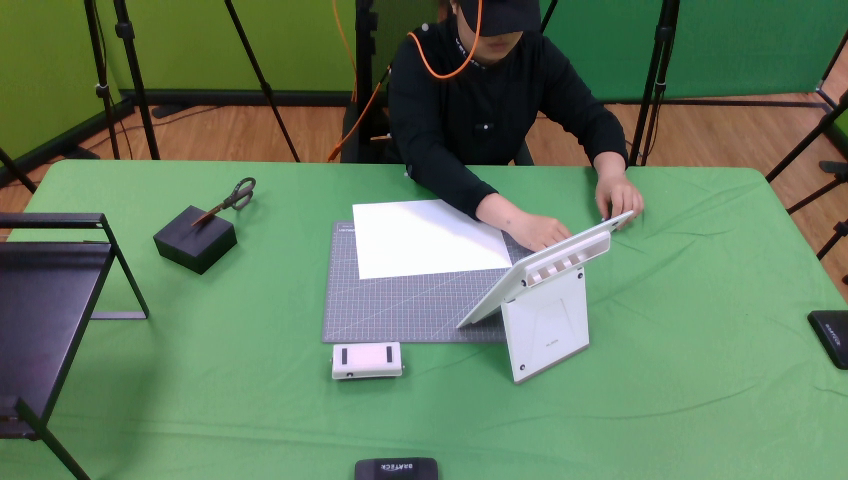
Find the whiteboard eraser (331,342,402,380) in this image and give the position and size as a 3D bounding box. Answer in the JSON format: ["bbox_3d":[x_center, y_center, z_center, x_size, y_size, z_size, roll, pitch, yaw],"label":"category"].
[{"bbox_3d":[-0.094,0.198,0.986,0.113,0.042,0.055,-2,44,-6],"label":"whiteboard eraser"}]

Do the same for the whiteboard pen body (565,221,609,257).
[{"bbox_3d":[0.334,-0.004,1.229,0.141,0.017,0.017,-34,57,-30],"label":"whiteboard pen body"}]

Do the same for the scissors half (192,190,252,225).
[{"bbox_3d":[-0.394,-0.060,1.187,0.013,0.040,0.175,25,29,12],"label":"scissors half"}]

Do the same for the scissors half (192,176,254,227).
[{"bbox_3d":[-0.388,-0.075,1.174,0.013,0.040,0.174,29,47,8],"label":"scissors half"}]

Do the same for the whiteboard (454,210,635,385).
[{"bbox_3d":[0.210,0.110,0.955,0.217,0.306,0.143,-21,72,-23],"label":"whiteboard"}]

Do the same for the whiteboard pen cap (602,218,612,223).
[{"bbox_3d":[0.378,-0.032,1.255,0.033,0.018,0.018,-34,57,-28],"label":"whiteboard pen cap"}]
